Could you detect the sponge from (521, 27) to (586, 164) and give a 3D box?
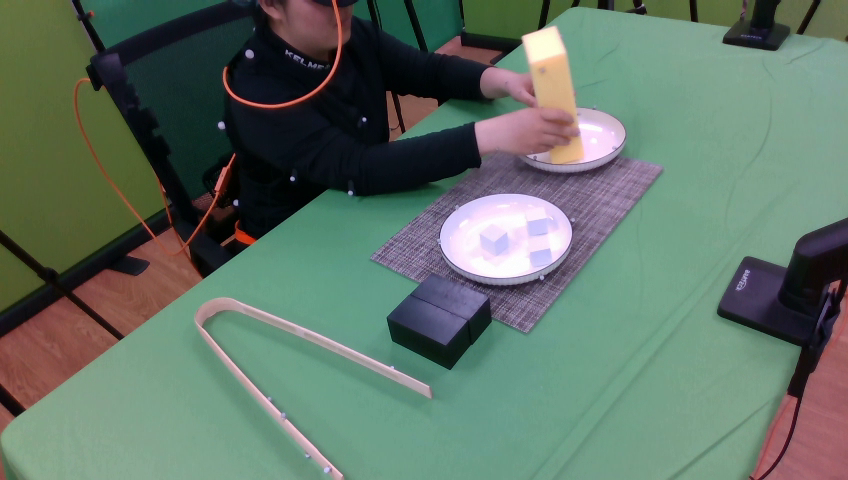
[{"bbox_3d":[0.229,-0.253,1.072,0.061,0.208,0.117,-15,40,12],"label":"sponge"}]

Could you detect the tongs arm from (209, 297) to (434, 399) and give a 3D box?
[{"bbox_3d":[-0.153,0.143,0.837,0.385,0.028,0.028,16,49,28],"label":"tongs arm"}]

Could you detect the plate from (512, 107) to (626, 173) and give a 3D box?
[{"bbox_3d":[0.269,-0.184,1.132,0.209,0.038,0.208,-5,40,5],"label":"plate"}]

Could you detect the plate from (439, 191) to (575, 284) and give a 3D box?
[{"bbox_3d":[0.129,-0.001,0.942,0.207,0.039,0.206,-5,40,5],"label":"plate"}]

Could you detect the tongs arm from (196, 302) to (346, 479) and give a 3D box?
[{"bbox_3d":[-0.206,0.185,0.791,0.381,0.026,0.051,28,52,37],"label":"tongs arm"}]
